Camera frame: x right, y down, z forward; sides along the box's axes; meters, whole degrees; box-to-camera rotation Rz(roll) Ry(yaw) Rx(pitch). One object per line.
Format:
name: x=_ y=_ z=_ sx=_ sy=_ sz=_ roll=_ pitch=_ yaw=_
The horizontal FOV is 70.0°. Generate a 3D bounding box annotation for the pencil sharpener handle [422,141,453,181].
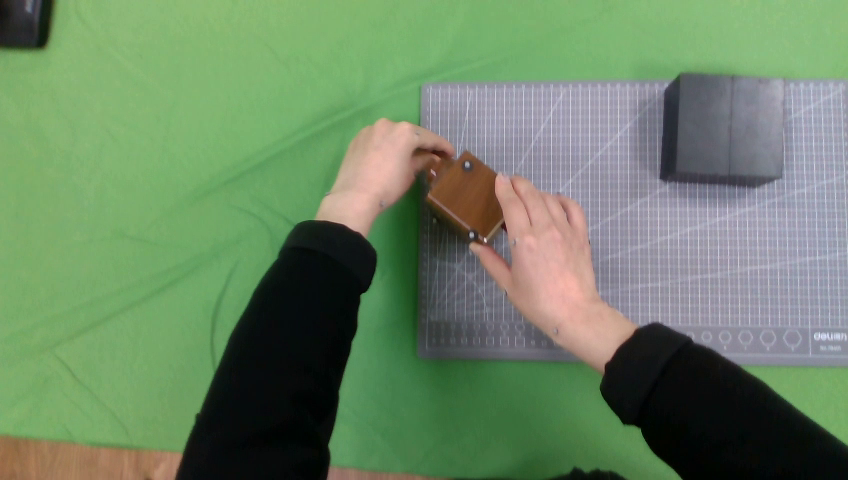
pencil sharpener handle: x=0.009 y=-0.081 z=0.582 sx=0.030 sy=0.068 sz=0.036 roll=40 pitch=108 yaw=6

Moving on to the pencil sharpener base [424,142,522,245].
pencil sharpener base: x=0.045 y=-0.043 z=0.591 sx=0.076 sy=0.107 sz=0.061 roll=40 pitch=89 yaw=6

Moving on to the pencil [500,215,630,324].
pencil: x=0.112 y=0.013 z=0.560 sx=0.194 sy=0.012 sz=0.012 roll=40 pitch=89 yaw=3
